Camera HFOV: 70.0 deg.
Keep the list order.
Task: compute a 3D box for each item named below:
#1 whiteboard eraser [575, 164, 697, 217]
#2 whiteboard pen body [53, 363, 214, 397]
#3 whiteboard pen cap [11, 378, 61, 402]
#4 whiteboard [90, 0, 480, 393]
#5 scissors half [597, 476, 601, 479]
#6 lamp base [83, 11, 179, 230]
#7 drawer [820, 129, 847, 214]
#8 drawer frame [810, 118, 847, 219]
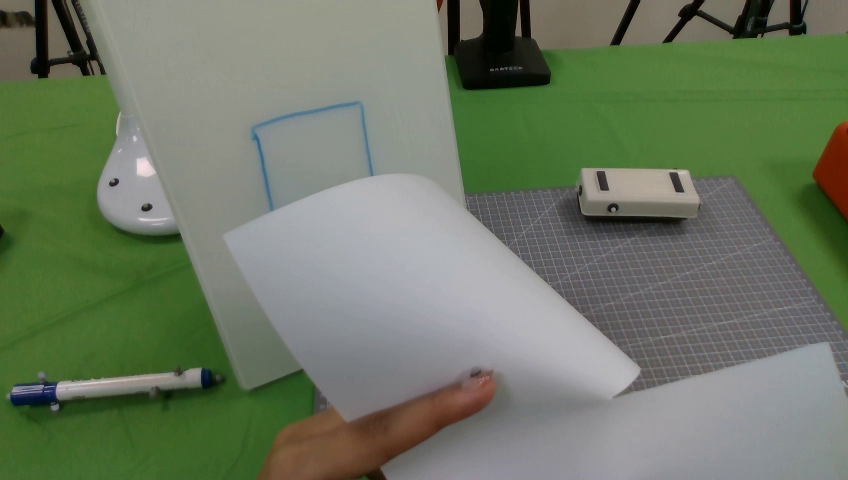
[{"bbox_3d":[0.213,-0.049,0.617,0.112,0.042,0.055,1,43,2],"label":"whiteboard eraser"},{"bbox_3d":[-0.239,0.111,0.477,0.141,0.017,0.017,-4,44,-9],"label":"whiteboard pen body"},{"bbox_3d":[-0.298,0.116,0.469,0.033,0.018,0.018,-2,44,-10],"label":"whiteboard pen cap"},{"bbox_3d":[-0.098,-0.072,0.501,0.217,0.308,0.142,-19,28,-17],"label":"whiteboard"},{"bbox_3d":[0.108,0.176,0.247,0.013,0.040,0.175,-25,87,8],"label":"scissors half"},{"bbox_3d":[-0.280,-0.127,0.609,0.178,0.182,0.160,25,50,28],"label":"lamp base"},{"bbox_3d":[0.521,-0.024,0.562,0.194,0.074,0.209,-3,44,0],"label":"drawer"},{"bbox_3d":[0.521,-0.029,0.566,0.202,0.083,0.211,-4,44,-1],"label":"drawer frame"}]
